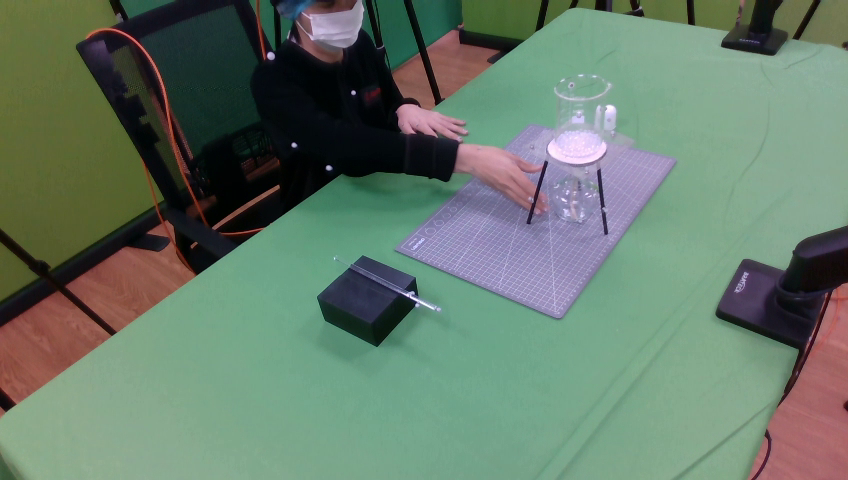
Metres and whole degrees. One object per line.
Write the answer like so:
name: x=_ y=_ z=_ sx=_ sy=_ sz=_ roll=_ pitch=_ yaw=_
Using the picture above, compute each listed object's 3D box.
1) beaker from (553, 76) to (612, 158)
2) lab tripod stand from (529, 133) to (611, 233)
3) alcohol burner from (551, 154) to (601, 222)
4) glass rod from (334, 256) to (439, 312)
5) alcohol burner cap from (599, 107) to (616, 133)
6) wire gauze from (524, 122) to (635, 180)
beaker: x=0.230 y=-0.178 z=0.882 sx=0.084 sy=0.101 sz=0.073 roll=-9 pitch=41 yaw=1
lab tripod stand: x=0.236 y=-0.089 z=0.953 sx=0.148 sy=0.132 sz=0.147 roll=-5 pitch=41 yaw=5
alcohol burner: x=0.244 y=-0.088 z=0.966 sx=0.078 sy=0.119 sz=0.077 roll=-3 pitch=40 yaw=3
glass rod: x=-0.058 y=0.060 z=0.850 sx=0.198 sy=0.008 sz=0.008 roll=24 pitch=49 yaw=33
alcohol burner cap: x=0.361 y=-0.238 z=1.189 sx=0.034 sy=0.048 sz=0.033 roll=-4 pitch=39 yaw=4
wire gauze: x=0.233 y=-0.142 z=0.913 sx=0.122 sy=0.011 sz=0.124 roll=-31 pitch=42 yaw=-26
